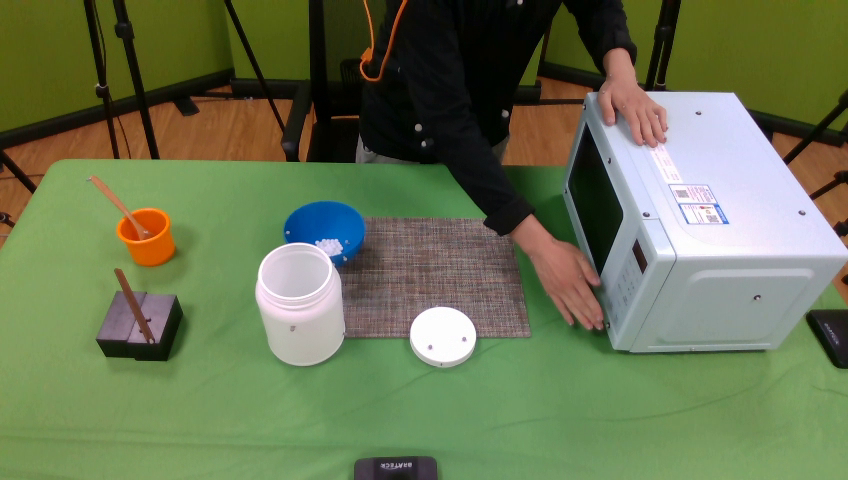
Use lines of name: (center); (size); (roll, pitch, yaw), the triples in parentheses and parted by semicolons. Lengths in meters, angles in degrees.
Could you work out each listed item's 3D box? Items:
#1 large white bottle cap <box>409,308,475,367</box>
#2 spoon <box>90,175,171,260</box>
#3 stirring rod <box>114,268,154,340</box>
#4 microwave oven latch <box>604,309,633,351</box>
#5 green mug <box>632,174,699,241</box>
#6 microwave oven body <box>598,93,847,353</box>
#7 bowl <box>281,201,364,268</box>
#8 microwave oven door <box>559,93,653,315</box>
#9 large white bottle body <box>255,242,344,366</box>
large white bottle cap: (0.031, 0.166, 1.041); (0.115, 0.018, 0.114); (2, 46, -2)
spoon: (-0.539, -0.042, 1.111); (0.041, 0.194, 0.021); (-45, 19, -32)
stirring rod: (-0.479, 0.103, 0.999); (0.014, 0.006, 0.175); (7, 32, -49)
microwave oven latch: (0.334, 0.153, 1.044); (0.030, 0.029, 0.078); (2, 45, -1)
green mug: (0.456, -0.056, 1.153); (0.125, 0.105, 0.092); (-16, 45, -10)
microwave oven body: (0.475, -0.042, 1.110); (0.326, 0.261, 0.438); (-1, 45, -4)
bowl: (-0.187, 0.005, 1.138); (0.151, 0.077, 0.150); (3, 46, -3)
microwave oven door: (0.327, -0.074, 1.123); (0.039, 0.245, 0.353); (-1, 46, -5)
large white bottle body: (-0.197, 0.102, 0.968); (0.131, 0.185, 0.130); (2, 50, -2)
